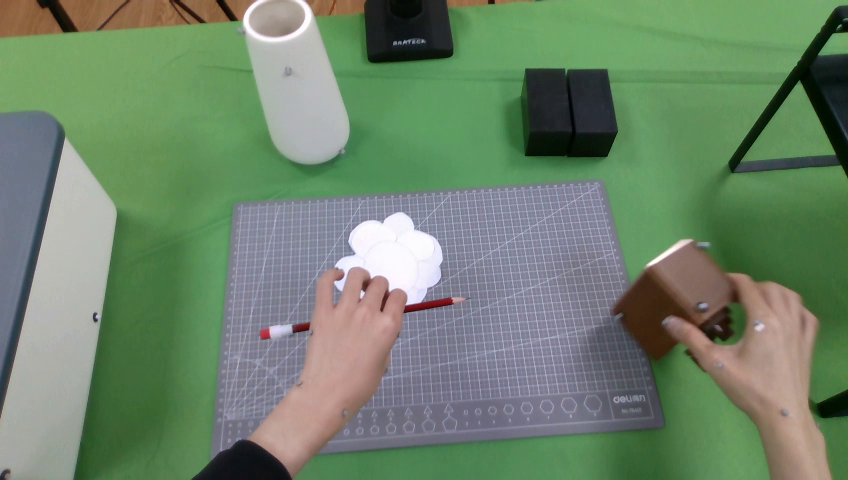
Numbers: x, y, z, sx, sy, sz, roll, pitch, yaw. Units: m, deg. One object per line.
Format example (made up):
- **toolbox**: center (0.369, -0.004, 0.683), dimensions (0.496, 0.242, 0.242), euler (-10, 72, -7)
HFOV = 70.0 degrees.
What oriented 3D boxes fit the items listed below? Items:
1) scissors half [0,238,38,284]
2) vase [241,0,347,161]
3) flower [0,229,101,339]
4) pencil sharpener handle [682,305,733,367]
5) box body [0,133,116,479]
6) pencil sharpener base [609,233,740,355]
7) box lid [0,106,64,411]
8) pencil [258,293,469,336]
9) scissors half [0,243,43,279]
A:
- **scissors half**: center (-0.505, 0.059, 0.669), dimensions (0.175, 0.040, 0.012), euler (-36, 29, -9)
- **vase**: center (-0.146, -0.180, 0.690), dimensions (0.098, 0.201, 0.097), euler (-1, 61, 2)
- **flower**: center (-0.465, 0.108, 0.656), dimensions (0.038, 0.044, 0.359), euler (-13, 36, 30)
- **pencil sharpener handle**: center (0.268, 0.090, 0.559), dimensions (0.036, 0.068, 0.030), euler (-24, 65, -32)
- **box body**: center (-0.467, 0.074, 0.579), dimensions (0.254, 0.161, 0.360), euler (-5, 62, -2)
- **pencil sharpener base**: center (0.240, 0.057, 0.589), dimensions (0.061, 0.108, 0.076), euler (-30, 68, -20)
- **box lid**: center (-0.468, 0.036, 0.513), dimensions (0.263, 0.015, 0.368), euler (-5, 62, -4)
- **pencil**: center (-0.054, 0.066, 0.553), dimensions (0.194, 0.012, 0.012), euler (-9, 62, -7)
- **scissors half**: center (-0.511, 0.048, 0.662), dimensions (0.175, 0.040, 0.012), euler (-29, 34, -16)
